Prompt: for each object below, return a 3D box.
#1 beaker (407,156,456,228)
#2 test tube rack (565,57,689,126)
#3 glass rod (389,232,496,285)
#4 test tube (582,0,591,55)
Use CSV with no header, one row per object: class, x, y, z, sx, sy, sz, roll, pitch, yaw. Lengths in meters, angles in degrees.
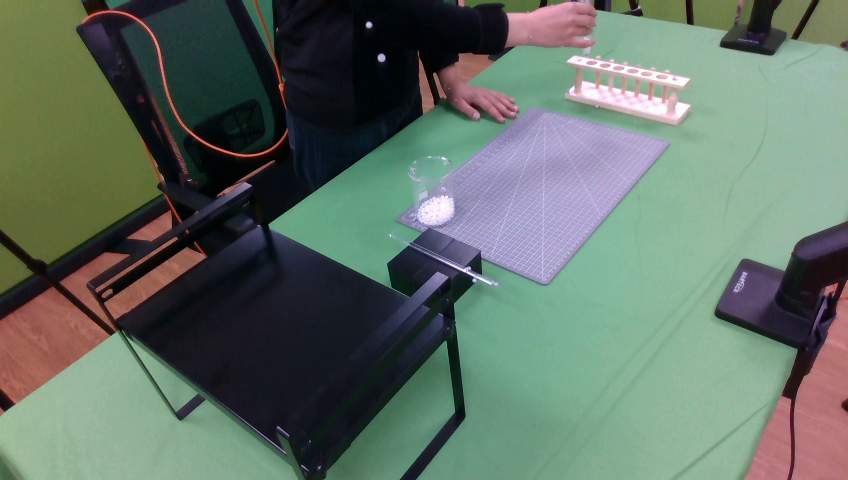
beaker,0.017,-0.079,1.002,0.073,0.101,0.084,25,49,33
test tube rack,0.412,-0.311,1.231,0.240,0.085,0.067,24,49,32
glass rod,0.022,0.025,0.878,0.198,0.008,0.008,25,50,33
test tube,0.309,-0.411,1.150,0.017,0.151,0.017,-6,58,11
